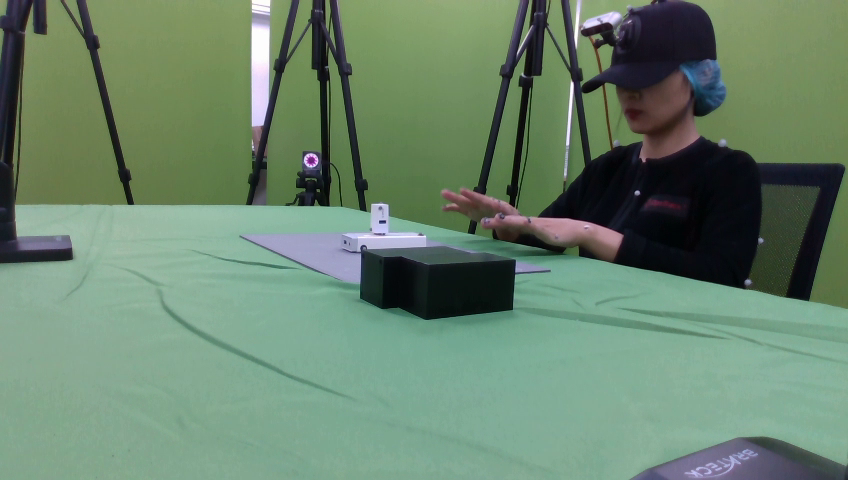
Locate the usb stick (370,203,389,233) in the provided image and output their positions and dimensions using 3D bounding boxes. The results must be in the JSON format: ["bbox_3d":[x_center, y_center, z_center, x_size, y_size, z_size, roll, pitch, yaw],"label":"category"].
[{"bbox_3d":[-0.068,-0.027,0.926,0.021,0.059,0.027,-2,11,-30],"label":"usb stick"}]

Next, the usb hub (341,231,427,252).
[{"bbox_3d":[-0.061,0.002,0.930,0.126,0.025,0.049,-2,9,-28],"label":"usb hub"}]
